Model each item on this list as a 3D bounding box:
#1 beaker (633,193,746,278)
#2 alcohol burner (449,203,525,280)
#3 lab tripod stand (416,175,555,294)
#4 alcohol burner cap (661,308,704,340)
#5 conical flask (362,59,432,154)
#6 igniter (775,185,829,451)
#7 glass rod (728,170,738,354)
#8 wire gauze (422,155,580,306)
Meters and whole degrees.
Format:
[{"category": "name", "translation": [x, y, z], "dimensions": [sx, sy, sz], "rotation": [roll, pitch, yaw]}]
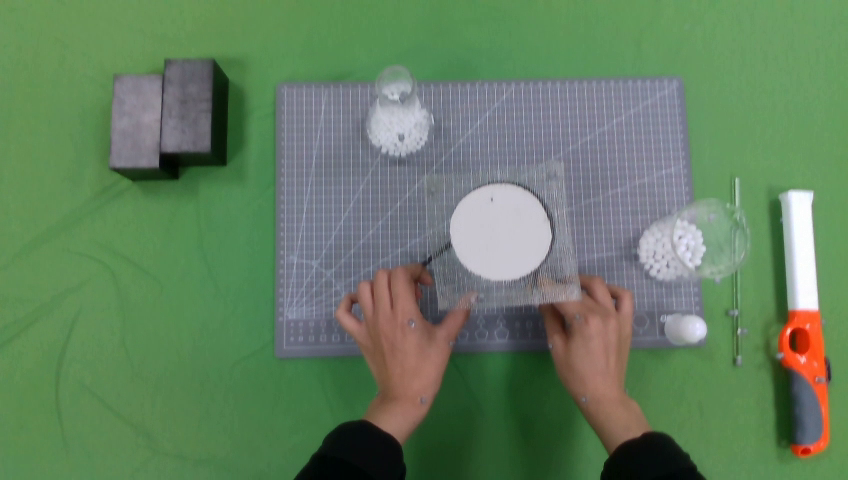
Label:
[{"category": "beaker", "translation": [0.260, -0.001, 0.603], "dimensions": [0.084, 0.100, 0.074], "rotation": [-38, 85, -6]}, {"category": "alcohol burner", "translation": [0.063, -0.001, 0.591], "dimensions": [0.078, 0.119, 0.077], "rotation": [0, 80, 0]}, {"category": "lab tripod stand", "translation": [0.063, -0.001, 0.581], "dimensions": [0.148, 0.131, 0.148], "rotation": [0, 84, 0]}, {"category": "alcohol burner cap", "translation": [0.267, 0.086, 0.621], "dimensions": [0.034, 0.048, 0.033], "rotation": [0, 82, -2]}, {"category": "conical flask", "translation": [-0.029, -0.136, 0.601], "dimensions": [0.075, 0.122, 0.075], "rotation": [0, 82, -1]}, {"category": "igniter", "translation": [0.393, 0.078, 0.635], "dimensions": [0.057, 0.025, 0.275], "rotation": [2, 83, -11]}, {"category": "glass rod", "translation": [0.332, 0.022, 0.651], "dimensions": [0.008, 0.008, 0.199], "rotation": [3, 83, -1]}, {"category": "wire gauze", "translation": [0.065, -0.008, 0.514], "dimensions": [0.125, 0.011, 0.121], "rotation": [-5, 83, -2]}]
